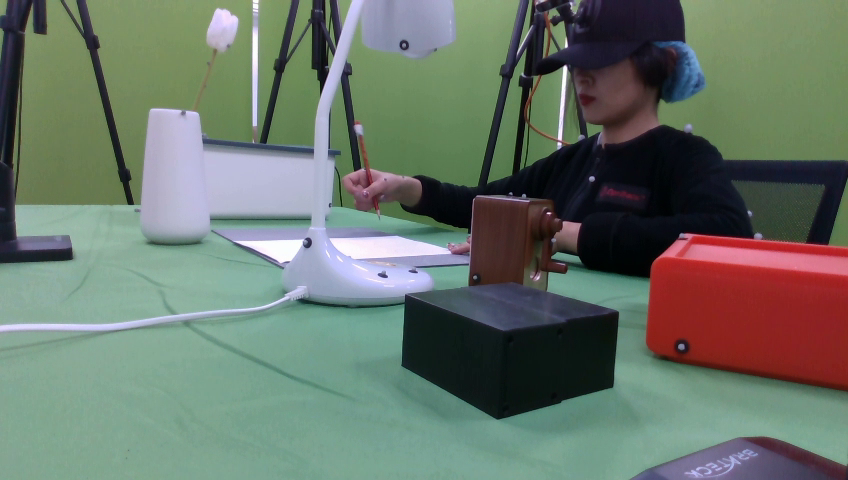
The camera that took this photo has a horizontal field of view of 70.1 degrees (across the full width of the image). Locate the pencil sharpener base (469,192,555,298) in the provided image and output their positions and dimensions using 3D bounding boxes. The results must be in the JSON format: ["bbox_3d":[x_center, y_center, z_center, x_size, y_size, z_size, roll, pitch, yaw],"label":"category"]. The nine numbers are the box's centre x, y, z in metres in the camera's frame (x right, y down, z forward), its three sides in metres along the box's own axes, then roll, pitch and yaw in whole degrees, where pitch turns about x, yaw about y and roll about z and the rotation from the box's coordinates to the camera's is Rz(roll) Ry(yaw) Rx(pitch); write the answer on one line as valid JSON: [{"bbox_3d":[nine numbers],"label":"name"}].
[{"bbox_3d":[0.097,0.003,0.652,0.076,0.107,0.061,8,9,37],"label":"pencil sharpener base"}]

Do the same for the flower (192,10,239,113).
[{"bbox_3d":[-0.354,-0.174,0.915,0.038,0.361,0.044,18,-3,12],"label":"flower"}]

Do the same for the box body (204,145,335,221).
[{"bbox_3d":[-0.411,-0.135,1.386,0.366,0.160,0.253,-2,9,-29],"label":"box body"}]

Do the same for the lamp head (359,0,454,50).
[{"bbox_3d":[-0.024,-0.283,0.674,0.112,0.123,0.112,-3,38,3],"label":"lamp head"}]

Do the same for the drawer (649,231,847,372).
[{"bbox_3d":[0.302,0.044,0.499,0.194,0.073,0.212,7,9,27],"label":"drawer"}]

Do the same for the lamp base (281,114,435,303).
[{"bbox_3d":[-0.071,-0.035,0.614,0.160,0.180,0.180,6,10,27],"label":"lamp base"}]

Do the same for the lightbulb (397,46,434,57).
[{"bbox_3d":[-0.017,-0.264,0.692,0.059,0.108,0.059,-9,29,5],"label":"lightbulb"}]

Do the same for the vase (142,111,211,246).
[{"bbox_3d":[-0.378,-0.093,0.920,0.098,0.200,0.098,2,9,0],"label":"vase"}]

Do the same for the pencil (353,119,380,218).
[{"bbox_3d":[-0.105,-0.133,1.125,0.012,0.193,0.012,-14,-5,-1],"label":"pencil"}]

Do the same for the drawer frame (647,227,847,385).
[{"bbox_3d":[0.303,0.043,0.495,0.201,0.082,0.214,6,9,26],"label":"drawer frame"}]

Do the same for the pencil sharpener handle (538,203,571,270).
[{"bbox_3d":[0.137,-0.003,0.619,0.030,0.067,0.036,8,5,37],"label":"pencil sharpener handle"}]

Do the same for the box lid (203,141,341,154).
[{"bbox_3d":[-0.396,-0.212,1.373,0.373,0.015,0.262,-1,9,-29],"label":"box lid"}]
